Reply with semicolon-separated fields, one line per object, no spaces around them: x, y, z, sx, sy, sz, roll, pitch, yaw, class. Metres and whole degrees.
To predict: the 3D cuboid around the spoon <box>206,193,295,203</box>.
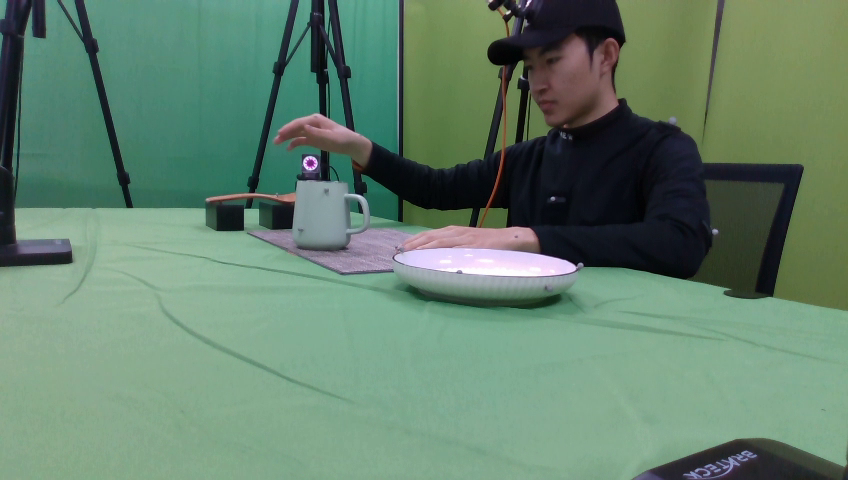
-0.335;-0.087;1.214;0.195;0.021;0.041;-2;23;-28;spoon

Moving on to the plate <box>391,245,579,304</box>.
0.066;0.038;0.683;0.209;0.038;0.209;2;7;0;plate

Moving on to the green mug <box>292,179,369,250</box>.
-0.144;-0.040;0.944;0.125;0.105;0.093;4;7;16;green mug
